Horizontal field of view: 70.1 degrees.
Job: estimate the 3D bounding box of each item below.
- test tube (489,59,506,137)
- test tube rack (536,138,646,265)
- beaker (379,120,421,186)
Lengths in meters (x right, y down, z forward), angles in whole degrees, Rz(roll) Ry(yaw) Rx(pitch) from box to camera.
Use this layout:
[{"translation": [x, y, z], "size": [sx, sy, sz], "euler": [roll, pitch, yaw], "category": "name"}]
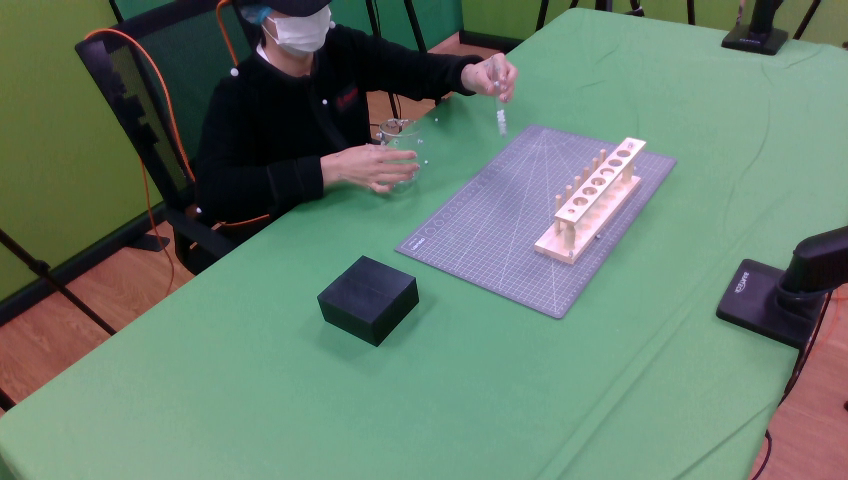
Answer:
[{"translation": [0.127, -0.239, 1.033], "size": [0.017, 0.151, 0.017], "euler": [-7, 45, 8], "category": "test tube"}, {"translation": [0.268, -0.071, 0.964], "size": [0.066, 0.085, 0.243], "euler": [23, 49, 32], "category": "test tube rack"}, {"translation": [-0.044, -0.157, 1.088], "size": [0.074, 0.100, 0.083], "euler": [0, 34, -3], "category": "beaker"}]
